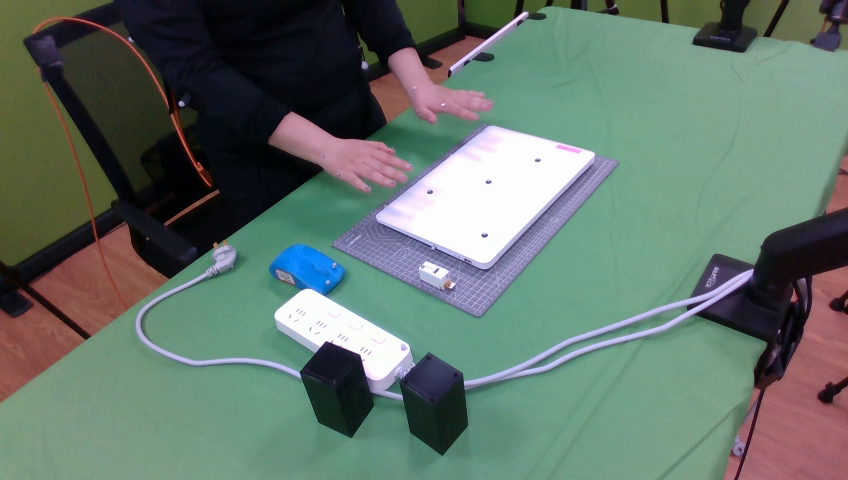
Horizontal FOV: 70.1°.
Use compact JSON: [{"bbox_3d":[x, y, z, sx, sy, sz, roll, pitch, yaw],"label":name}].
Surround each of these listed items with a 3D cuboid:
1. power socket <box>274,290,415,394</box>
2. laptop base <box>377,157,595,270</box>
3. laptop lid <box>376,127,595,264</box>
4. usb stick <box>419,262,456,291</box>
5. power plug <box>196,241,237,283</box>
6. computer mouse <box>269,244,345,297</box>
[{"bbox_3d":[-0.114,0.133,0.820,0.225,0.033,0.072,24,48,32],"label":"power socket"},{"bbox_3d":[0.115,-0.086,1.057,0.233,0.023,0.355,21,48,34],"label":"laptop base"},{"bbox_3d":[0.112,-0.096,1.050,0.239,0.013,0.358,24,49,35],"label":"laptop lid"},{"bbox_3d":[0.022,0.056,0.892,0.058,0.027,0.021,25,46,30],"label":"usb stick"},{"bbox_3d":[-0.336,0.031,0.966,0.073,0.035,0.052,-18,61,-29],"label":"power plug"},{"bbox_3d":[-0.182,0.044,0.933,0.116,0.041,0.063,22,46,25],"label":"computer mouse"}]
